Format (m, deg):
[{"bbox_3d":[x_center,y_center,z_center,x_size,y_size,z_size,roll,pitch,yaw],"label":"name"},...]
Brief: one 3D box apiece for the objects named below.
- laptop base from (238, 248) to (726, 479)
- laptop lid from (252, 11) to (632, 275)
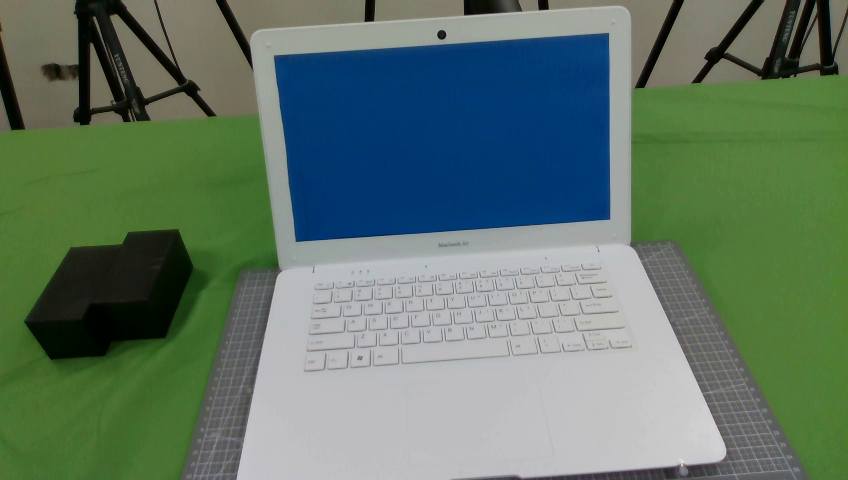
[{"bbox_3d":[0.037,0.101,0.516,0.354,0.023,0.233,-4,43,-1],"label":"laptop base"},{"bbox_3d":[0.023,-0.087,0.582,0.357,0.242,0.013,-6,11,-1],"label":"laptop lid"}]
